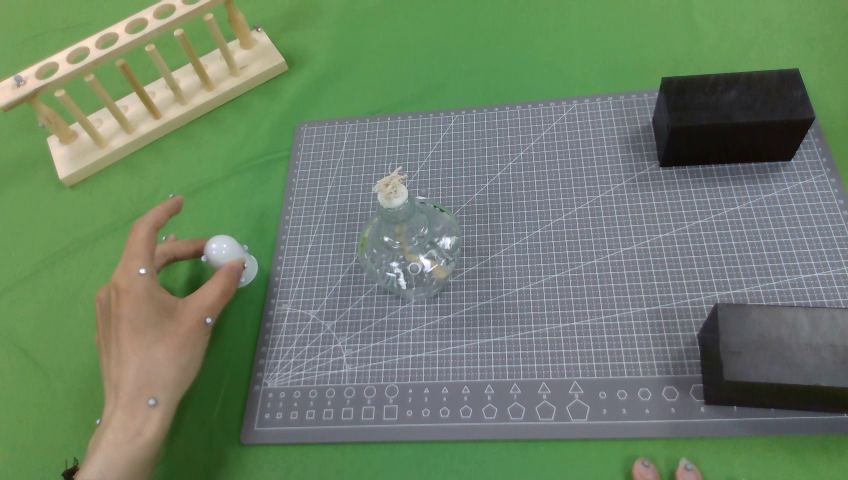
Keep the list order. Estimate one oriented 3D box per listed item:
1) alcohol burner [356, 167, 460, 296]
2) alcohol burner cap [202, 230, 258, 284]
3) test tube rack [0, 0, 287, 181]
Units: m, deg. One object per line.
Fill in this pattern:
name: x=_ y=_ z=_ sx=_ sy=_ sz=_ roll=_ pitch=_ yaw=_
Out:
alcohol burner: x=-0.014 y=-0.009 z=0.431 sx=0.078 sy=0.120 sz=0.077 roll=-5 pitch=57 yaw=8
alcohol burner cap: x=-0.156 y=0.011 z=0.482 sx=0.034 sy=0.048 sz=0.033 roll=-5 pitch=60 yaw=8
test tube rack: x=-0.265 y=-0.161 z=0.583 sx=0.242 sy=0.086 sz=0.066 roll=-31 pitch=60 yaw=-9
